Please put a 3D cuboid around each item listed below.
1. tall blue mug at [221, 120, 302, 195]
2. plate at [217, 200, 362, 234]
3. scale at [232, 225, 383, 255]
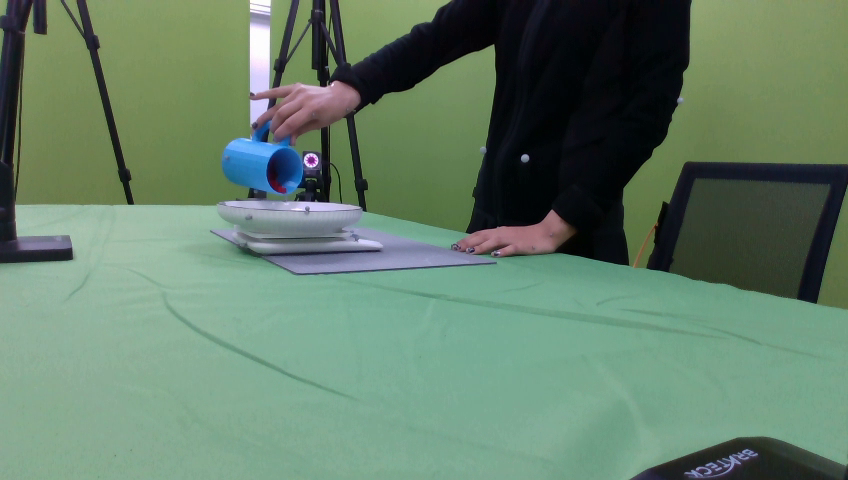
[{"bbox_3d":[-0.259,-0.133,0.963,0.107,0.107,0.078,15,24,34],"label":"tall blue mug"},{"bbox_3d":[-0.196,-0.035,0.894,0.209,0.038,0.209,2,7,0],"label":"plate"},{"bbox_3d":[-0.177,-0.004,0.920,0.202,0.031,0.148,-1,9,-30],"label":"scale"}]
